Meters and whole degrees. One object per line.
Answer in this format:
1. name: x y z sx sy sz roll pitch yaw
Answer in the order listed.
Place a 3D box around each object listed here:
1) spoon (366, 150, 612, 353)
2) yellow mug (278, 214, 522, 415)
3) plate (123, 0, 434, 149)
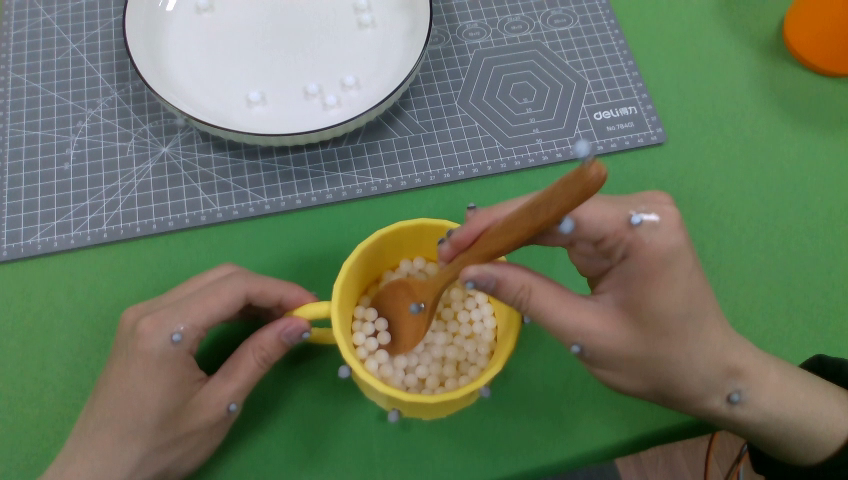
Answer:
1. spoon: 0.016 0.014 0.280 0.022 0.194 0.041 -6 70 -30
2. yellow mug: -0.015 0.044 0.339 0.131 0.064 0.099 -2 68 -3
3. plate: -0.097 -0.150 0.426 0.208 0.039 0.206 1 68 -2
